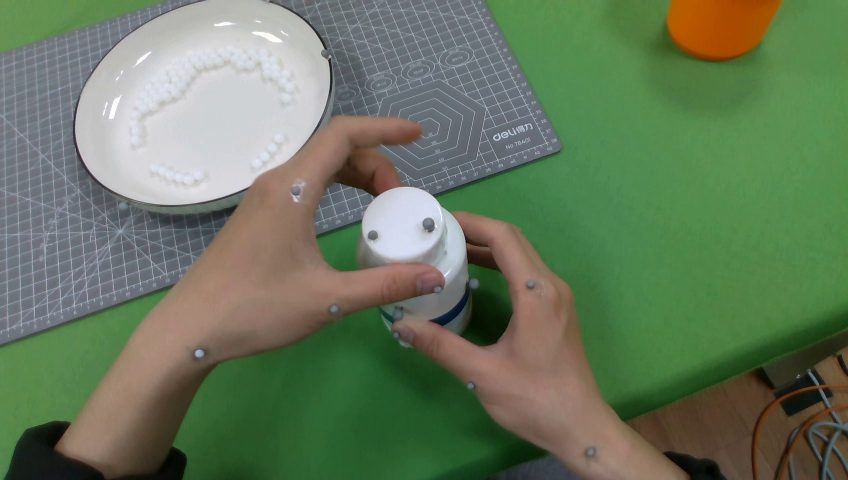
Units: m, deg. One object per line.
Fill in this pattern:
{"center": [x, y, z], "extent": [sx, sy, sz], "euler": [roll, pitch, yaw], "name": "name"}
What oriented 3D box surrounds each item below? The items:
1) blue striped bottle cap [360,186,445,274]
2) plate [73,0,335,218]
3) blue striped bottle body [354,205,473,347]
{"center": [-0.011, -0.006, 0.317], "extent": [0.044, 0.021, 0.044], "euler": [-1, 63, 2], "name": "blue striped bottle cap"}
{"center": [-0.171, -0.105, 0.488], "extent": [0.207, 0.039, 0.206], "euler": [-2, 64, 5], "name": "plate"}
{"center": [-0.004, 0.019, 0.365], "extent": [0.063, 0.122, 0.062], "euler": [-3, 64, 6], "name": "blue striped bottle body"}
